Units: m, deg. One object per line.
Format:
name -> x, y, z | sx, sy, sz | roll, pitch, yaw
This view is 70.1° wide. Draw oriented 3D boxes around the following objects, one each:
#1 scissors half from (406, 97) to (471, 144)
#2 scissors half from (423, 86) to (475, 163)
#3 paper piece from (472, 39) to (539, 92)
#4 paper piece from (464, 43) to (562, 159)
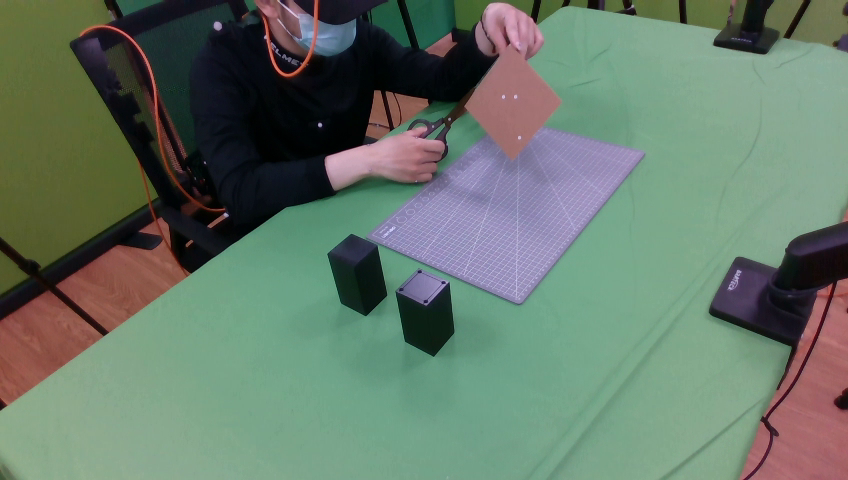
scissors half -> 0.031, -0.221, 1.082 | 0.174, 0.040, 0.013 | -23, 19, 35
scissors half -> 0.047, -0.205, 1.083 | 0.040, 0.175, 0.013 | 37, 39, 6
paper piece -> 0.139, -0.302, 1.076 | 0.008, 0.135, 0.139 | 49, 35, 6
paper piece -> 0.142, -0.227, 0.997 | 0.004, 0.135, 0.135 | -21, 67, -48
